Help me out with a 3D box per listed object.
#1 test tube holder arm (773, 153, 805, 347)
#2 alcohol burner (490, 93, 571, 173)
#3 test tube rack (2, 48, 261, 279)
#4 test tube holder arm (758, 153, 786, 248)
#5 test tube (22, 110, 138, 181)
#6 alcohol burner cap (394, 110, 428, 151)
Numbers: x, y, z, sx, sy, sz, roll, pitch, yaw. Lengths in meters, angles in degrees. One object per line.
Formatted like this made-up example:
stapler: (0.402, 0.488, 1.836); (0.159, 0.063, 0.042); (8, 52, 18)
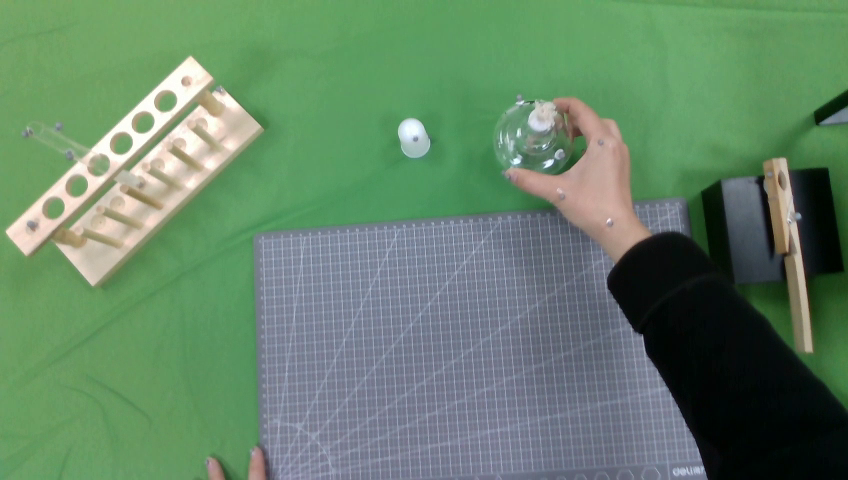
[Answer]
test tube holder arm: (0.330, 0.008, 0.554); (0.013, 0.015, 0.178); (-3, 84, -12)
alcohol burner: (0.101, -0.105, 0.562); (0.078, 0.119, 0.077); (0, 82, 3)
test tube rack: (-0.287, -0.071, 0.612); (0.242, 0.085, 0.066); (-45, 82, -3)
test tube holder arm: (0.321, -0.036, 0.557); (0.010, 0.015, 0.087); (-3, 84, -12)
test tube: (-0.313, -0.083, 0.565); (0.017, 0.151, 0.017); (-1, 78, 6)
alcohol burner cap: (-0.014, -0.116, 0.624); (0.034, 0.048, 0.033); (-1, 78, 6)
